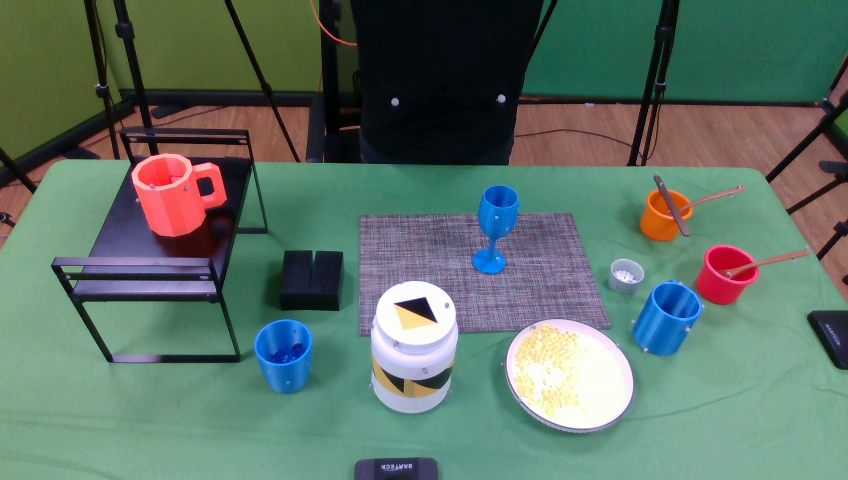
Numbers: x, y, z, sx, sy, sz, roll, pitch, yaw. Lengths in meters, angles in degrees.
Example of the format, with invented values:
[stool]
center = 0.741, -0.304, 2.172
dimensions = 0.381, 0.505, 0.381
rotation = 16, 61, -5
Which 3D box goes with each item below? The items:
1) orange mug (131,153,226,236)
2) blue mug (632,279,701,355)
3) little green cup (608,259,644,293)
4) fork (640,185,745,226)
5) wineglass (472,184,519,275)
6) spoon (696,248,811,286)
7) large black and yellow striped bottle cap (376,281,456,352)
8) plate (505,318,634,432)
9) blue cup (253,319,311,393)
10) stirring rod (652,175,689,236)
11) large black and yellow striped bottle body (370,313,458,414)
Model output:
[orange mug]
center = -0.375, -0.075, 0.937
dimensions = 0.126, 0.101, 0.083
rotation = -20, 50, -17
[blue mug]
center = 0.419, 0.123, 1.052
dimensions = 0.082, 0.106, 0.116
rotation = 14, 47, 9
[little green cup]
center = 0.379, 0.070, 1.147
dimensions = 0.061, 0.039, 0.061
rotation = 3, 45, -3
[fork]
center = 0.534, -0.069, 1.215
dimensions = 0.207, 0.019, 0.028
rotation = -26, 27, 33
[wineglass]
center = 0.129, -0.018, 1.113
dimensions = 0.074, 0.173, 0.073
rotation = 2, 46, -2
[spoon]
center = 0.600, 0.048, 1.112
dimensions = 0.193, 0.022, 0.041
rotation = -25, 31, 35
[large black and yellow striped bottle cap]
center = -0.011, 0.107, 0.863
dimensions = 0.115, 0.019, 0.114
rotation = 2, 47, -2
[plate]
center = 0.235, 0.221, 0.991
dimensions = 0.209, 0.038, 0.208
rotation = 2, 46, -2
[blue cup]
center = -0.217, 0.187, 0.943
dimensions = 0.093, 0.100, 0.092
rotation = 4, 45, -3
[stirring rod]
center = 0.491, -0.072, 1.211
dimensions = 0.014, 0.006, 0.175
rotation = -1, 46, -6
[large black and yellow striped bottle body]
center = -0.017, 0.165, 0.924
dimensions = 0.131, 0.185, 0.130
rotation = 2, 46, -2
